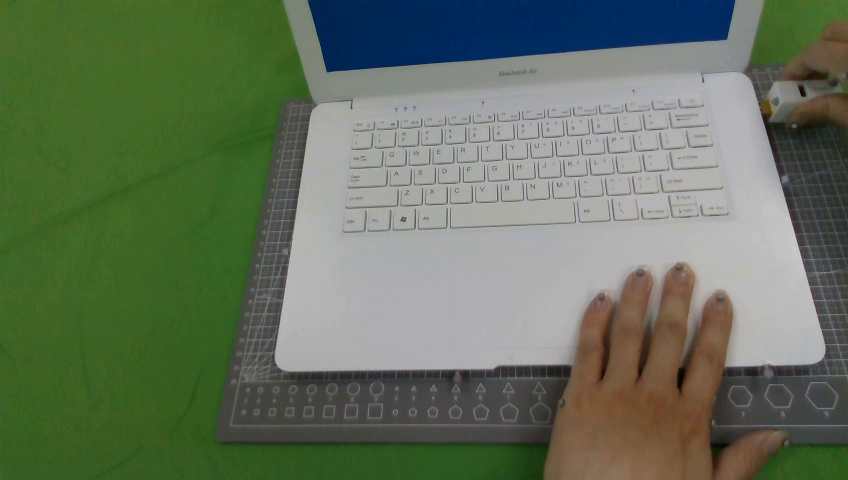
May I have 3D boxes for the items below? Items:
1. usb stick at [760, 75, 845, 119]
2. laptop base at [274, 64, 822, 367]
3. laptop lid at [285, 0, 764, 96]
[{"bbox_3d":[0.272,-0.105,0.447,0.059,0.027,0.021,-3,62,7],"label":"usb stick"},{"bbox_3d":[0.074,-0.023,0.446,0.354,0.023,0.233,-2,66,8],"label":"laptop base"},{"bbox_3d":[0.064,-0.210,0.420,0.356,0.244,0.013,-3,44,9],"label":"laptop lid"}]
